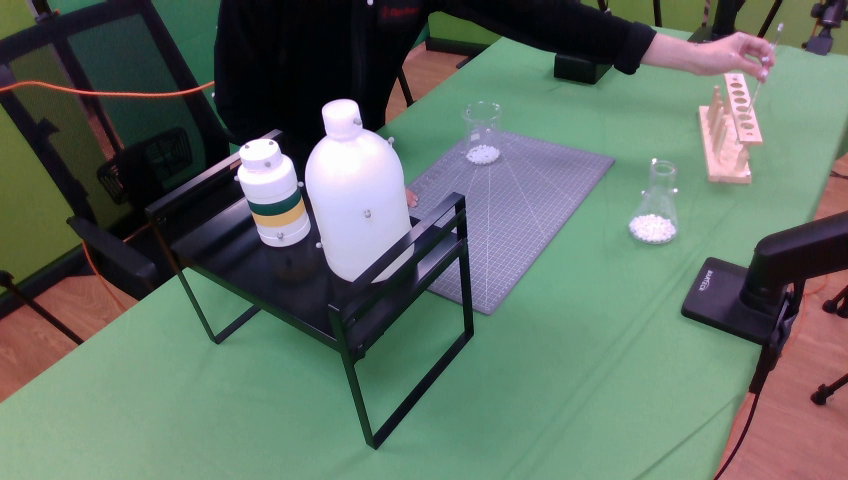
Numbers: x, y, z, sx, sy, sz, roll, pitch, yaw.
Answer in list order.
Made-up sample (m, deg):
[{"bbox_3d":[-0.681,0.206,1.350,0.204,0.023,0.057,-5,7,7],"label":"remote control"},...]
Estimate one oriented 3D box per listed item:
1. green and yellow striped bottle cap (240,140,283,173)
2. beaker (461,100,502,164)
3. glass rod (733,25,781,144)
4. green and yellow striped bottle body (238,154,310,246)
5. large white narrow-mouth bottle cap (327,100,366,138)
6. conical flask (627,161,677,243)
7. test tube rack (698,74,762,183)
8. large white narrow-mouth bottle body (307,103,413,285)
[{"bbox_3d":[-0.183,-0.094,0.680,0.045,0.020,0.045,-5,39,4],"label":"green and yellow striped bottle cap"},{"bbox_3d":[0.111,-0.200,1.132,0.084,0.101,0.073,-27,45,-22],"label":"beaker"},{"bbox_3d":[0.548,-0.252,1.000,0.008,0.200,0.008,4,33,-2],"label":"glass rod"},{"bbox_3d":[-0.178,-0.056,0.714,0.063,0.120,0.063,-4,40,4],"label":"green and yellow striped bottle body"},{"bbox_3d":[-0.075,-0.117,0.582,0.038,0.024,0.037,-3,40,3],"label":"large white narrow-mouth bottle cap"},{"bbox_3d":[0.355,-0.060,0.921,0.075,0.122,0.075,-4,41,4],"label":"conical flask"},{"bbox_3d":[0.547,-0.208,1.094,0.066,0.085,0.242,5,42,15],"label":"test tube rack"},{"bbox_3d":[-0.069,-0.051,0.638,0.102,0.195,0.101,-3,40,3],"label":"large white narrow-mouth bottle body"}]
